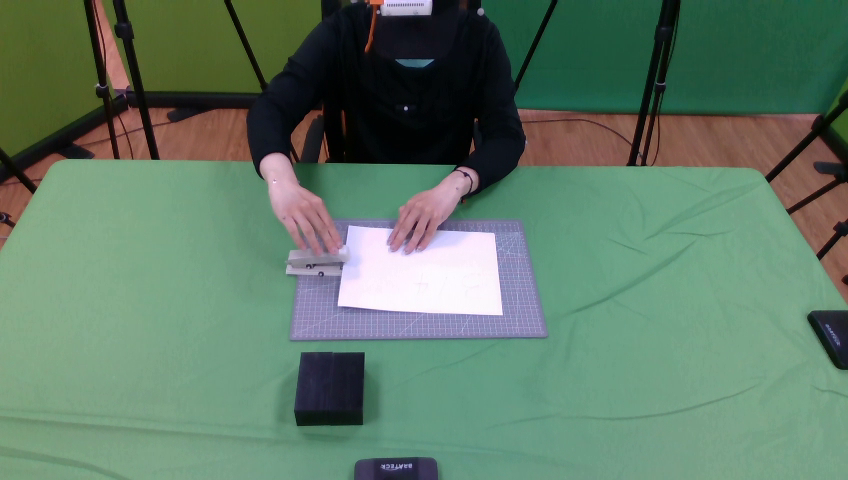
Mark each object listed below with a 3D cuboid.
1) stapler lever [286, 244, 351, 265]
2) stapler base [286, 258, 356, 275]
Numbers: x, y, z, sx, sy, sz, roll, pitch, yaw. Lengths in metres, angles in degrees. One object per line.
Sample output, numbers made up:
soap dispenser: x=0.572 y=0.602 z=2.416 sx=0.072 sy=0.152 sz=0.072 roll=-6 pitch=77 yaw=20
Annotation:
stapler lever: x=-0.194 y=0.027 z=1.116 sx=0.118 sy=0.040 sz=0.026 roll=1 pitch=45 yaw=-2
stapler base: x=-0.193 y=0.043 z=1.134 sx=0.130 sy=0.024 sz=0.041 roll=0 pitch=45 yaw=-1
